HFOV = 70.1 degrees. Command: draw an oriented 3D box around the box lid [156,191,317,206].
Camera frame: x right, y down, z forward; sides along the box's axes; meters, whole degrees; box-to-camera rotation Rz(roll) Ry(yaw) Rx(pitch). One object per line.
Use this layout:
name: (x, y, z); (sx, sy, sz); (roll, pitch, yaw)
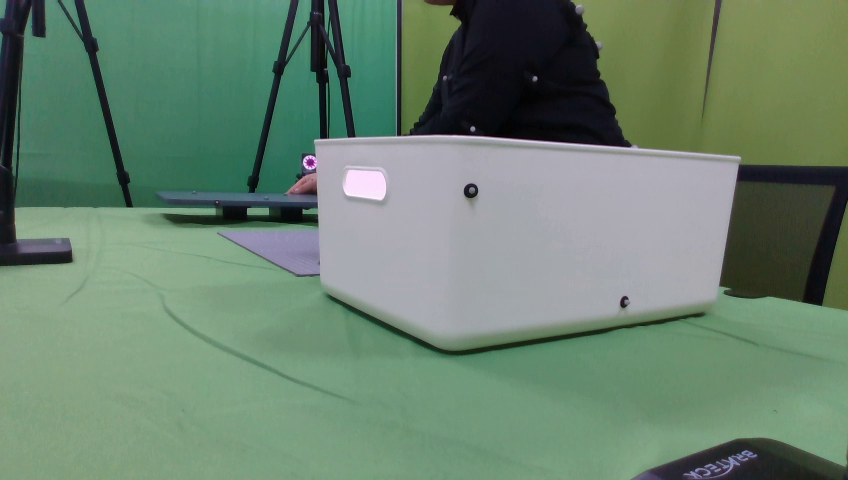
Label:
box lid: (-0.387, -0.091, 1.339); (0.373, 0.015, 0.262); (-1, 8, -29)

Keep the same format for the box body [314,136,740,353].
box body: (0.098, -0.012, 0.605); (0.366, 0.160, 0.253); (-2, 8, -33)

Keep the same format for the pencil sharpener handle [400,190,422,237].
pencil sharpener handle: (-0.015, -0.037, 0.872); (0.031, 0.067, 0.036); (-1, 15, -30)

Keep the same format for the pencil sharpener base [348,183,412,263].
pencil sharpener base: (-0.059, -0.024, 0.845); (0.077, 0.107, 0.061); (-1, 7, -30)
